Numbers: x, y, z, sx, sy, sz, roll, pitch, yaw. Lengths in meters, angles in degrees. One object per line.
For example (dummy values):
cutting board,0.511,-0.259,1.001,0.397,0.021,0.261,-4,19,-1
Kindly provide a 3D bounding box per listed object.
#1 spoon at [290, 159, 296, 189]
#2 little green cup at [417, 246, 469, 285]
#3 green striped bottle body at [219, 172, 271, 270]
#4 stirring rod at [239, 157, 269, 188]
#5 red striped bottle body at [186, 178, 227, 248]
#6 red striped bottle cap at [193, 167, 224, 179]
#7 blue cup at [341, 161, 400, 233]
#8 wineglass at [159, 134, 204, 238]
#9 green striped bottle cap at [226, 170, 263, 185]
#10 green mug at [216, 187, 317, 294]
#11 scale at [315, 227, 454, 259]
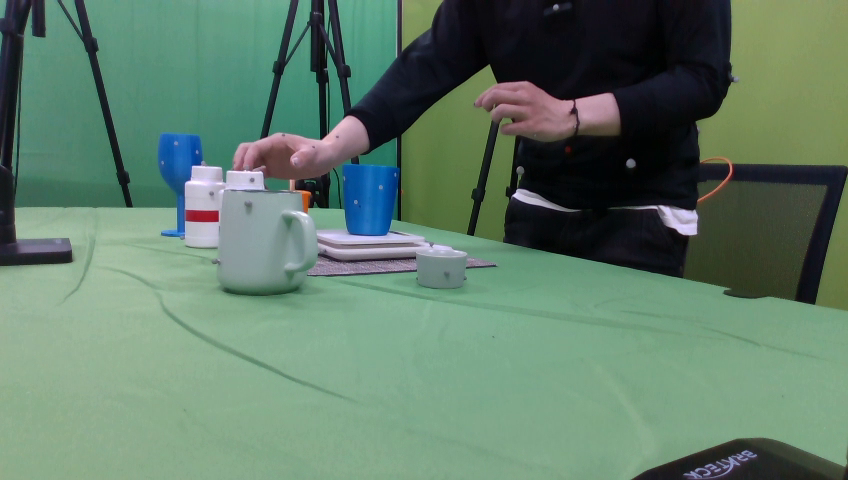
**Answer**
spoon,-0.273,-0.102,1.252,0.042,0.193,0.021,7,-38,-17
little green cup,0.021,0.029,0.701,0.061,0.038,0.061,1,6,0
green striped bottle body,-0.223,-0.025,0.755,0.063,0.119,0.063,1,7,0
stirring rod,-0.309,-0.098,1.209,0.006,0.177,0.014,-39,29,-4
red striped bottle body,-0.331,-0.049,0.928,0.063,0.119,0.063,2,7,0
red striped bottle cap,-0.329,-0.102,0.921,0.044,0.017,0.044,1,7,0
blue cup,-0.080,-0.062,0.883,0.093,0.100,0.092,3,4,0
wineglass,-0.415,-0.093,1.039,0.074,0.172,0.073,2,8,0
green striped bottle cap,-0.222,-0.076,0.748,0.044,0.020,0.044,1,7,0
green mug,-0.157,0.000,0.629,0.124,0.105,0.093,7,9,37
scale,-0.067,0.001,0.906,0.202,0.031,0.148,-2,8,-31
